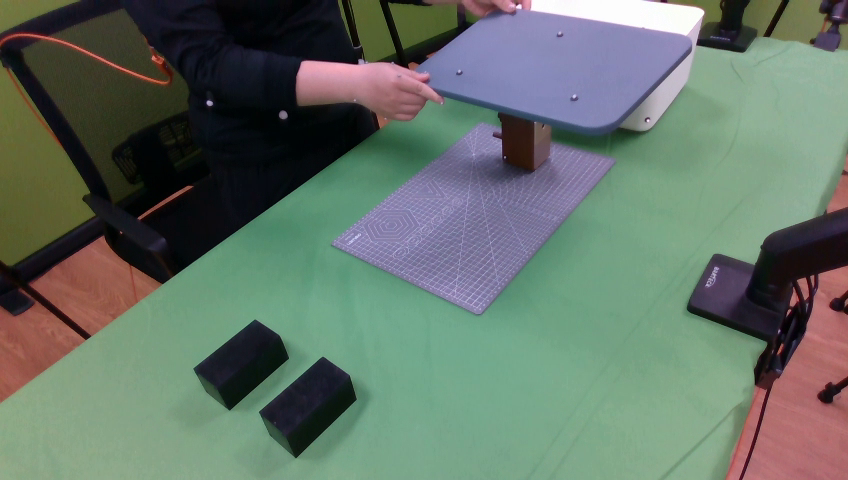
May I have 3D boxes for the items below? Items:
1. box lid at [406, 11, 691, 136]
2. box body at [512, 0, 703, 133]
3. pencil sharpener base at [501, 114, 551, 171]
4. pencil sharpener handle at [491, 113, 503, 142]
[{"bbox_3d":[0.178,-0.266,0.916,0.368,0.015,0.264,25,56,36],"label":"box lid"},{"bbox_3d":[0.346,-0.374,1.251,0.361,0.161,0.255,20,48,29],"label":"box body"},{"bbox_3d":[0.184,-0.191,1.097,0.076,0.107,0.061,22,49,32],"label":"pencil sharpener base"},{"bbox_3d":[0.140,-0.215,1.113,0.030,0.068,0.036,22,37,32],"label":"pencil sharpener handle"}]
